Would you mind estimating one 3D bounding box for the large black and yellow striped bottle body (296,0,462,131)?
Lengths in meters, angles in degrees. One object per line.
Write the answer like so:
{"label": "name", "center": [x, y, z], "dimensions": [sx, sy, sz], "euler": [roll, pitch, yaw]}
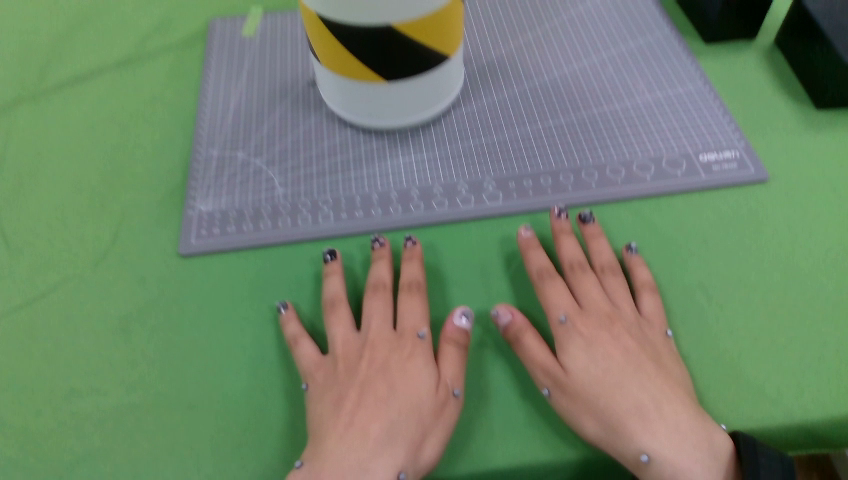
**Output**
{"label": "large black and yellow striped bottle body", "center": [-0.035, -0.193, 0.470], "dimensions": [0.131, 0.185, 0.129], "euler": [-1, 54, 2]}
